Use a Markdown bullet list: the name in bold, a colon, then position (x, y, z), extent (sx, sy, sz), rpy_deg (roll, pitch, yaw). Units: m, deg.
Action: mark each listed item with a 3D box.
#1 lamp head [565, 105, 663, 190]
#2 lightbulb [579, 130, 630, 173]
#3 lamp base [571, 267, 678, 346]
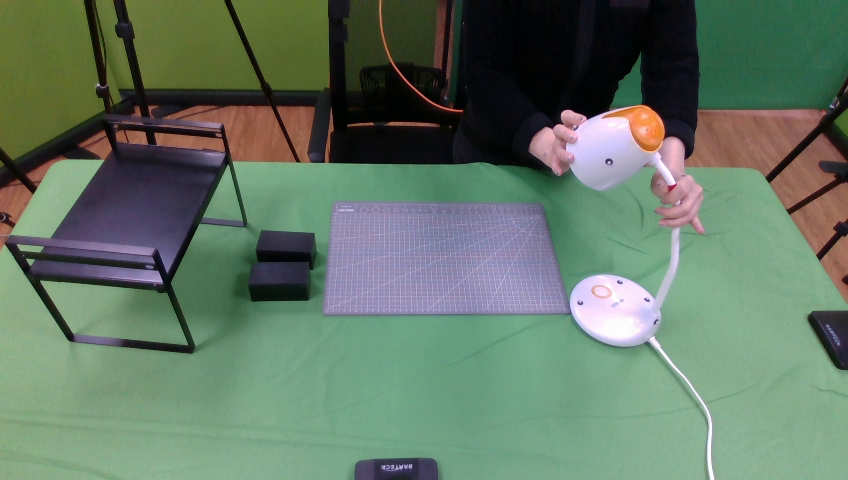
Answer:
- **lamp head**: position (0.287, -0.139, 0.881), extent (0.113, 0.123, 0.112), rpy_deg (6, 78, -28)
- **lightbulb**: position (0.272, -0.136, 0.902), extent (0.059, 0.108, 0.059), rpy_deg (2, 80, -11)
- **lamp base**: position (0.359, 0.077, 1.038), extent (0.160, 0.181, 0.178), rpy_deg (-33, 59, -30)
